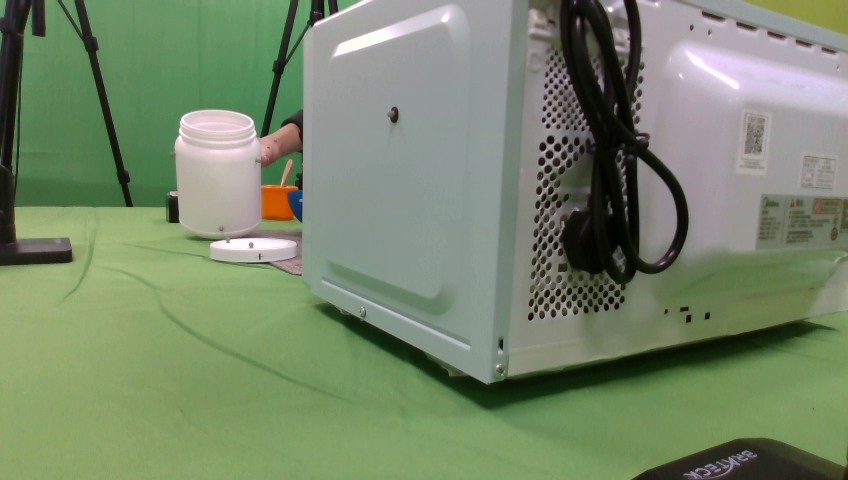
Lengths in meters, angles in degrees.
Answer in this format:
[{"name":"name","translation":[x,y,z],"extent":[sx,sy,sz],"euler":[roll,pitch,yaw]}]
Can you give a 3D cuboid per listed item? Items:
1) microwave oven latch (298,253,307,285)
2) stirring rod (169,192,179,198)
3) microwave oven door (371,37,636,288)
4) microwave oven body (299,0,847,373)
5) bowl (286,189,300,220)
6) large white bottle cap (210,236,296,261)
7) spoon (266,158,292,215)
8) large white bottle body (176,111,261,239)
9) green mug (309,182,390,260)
[{"name":"microwave oven latch","translation":[-0.081,0.027,0.582],"extent":[0.079,0.029,0.030],"euler":[-1,7,-32]},{"name":"stirring rod","translation":[-0.465,-0.098,1.283],"extent":[0.014,0.006,0.177],"euler":[42,22,17]},{"name":"microwave oven door","translation":[0.110,-0.080,0.687],"extent":[0.358,0.243,0.039],"euler":[-2,9,-33]},{"name":"microwave oven body","translation":[0.151,-0.055,0.543],"extent":[0.444,0.260,0.324],"euler":[-2,7,-33]},{"name":"bowl","translation":[-0.179,-0.051,1.114],"extent":[0.151,0.077,0.151],"euler":[3,8,0]},{"name":"large white bottle cap","translation":[-0.236,0.011,0.839],"extent":[0.115,0.018,0.115],"euler":[-1,10,1]},{"name":"spoon","translation":[-0.334,-0.128,1.423],"extent":[0.041,0.193,0.022],"euler":[0,-37,7]},{"name":"large white bottle body","translation":[-0.335,-0.109,0.994],"extent":[0.131,0.184,0.130],"euler":[6,27,-3]},{"name":"green mug","translation":[-0.102,-0.029,0.864],"extent":[0.126,0.105,0.092],"euler":[-3,8,-40]}]
